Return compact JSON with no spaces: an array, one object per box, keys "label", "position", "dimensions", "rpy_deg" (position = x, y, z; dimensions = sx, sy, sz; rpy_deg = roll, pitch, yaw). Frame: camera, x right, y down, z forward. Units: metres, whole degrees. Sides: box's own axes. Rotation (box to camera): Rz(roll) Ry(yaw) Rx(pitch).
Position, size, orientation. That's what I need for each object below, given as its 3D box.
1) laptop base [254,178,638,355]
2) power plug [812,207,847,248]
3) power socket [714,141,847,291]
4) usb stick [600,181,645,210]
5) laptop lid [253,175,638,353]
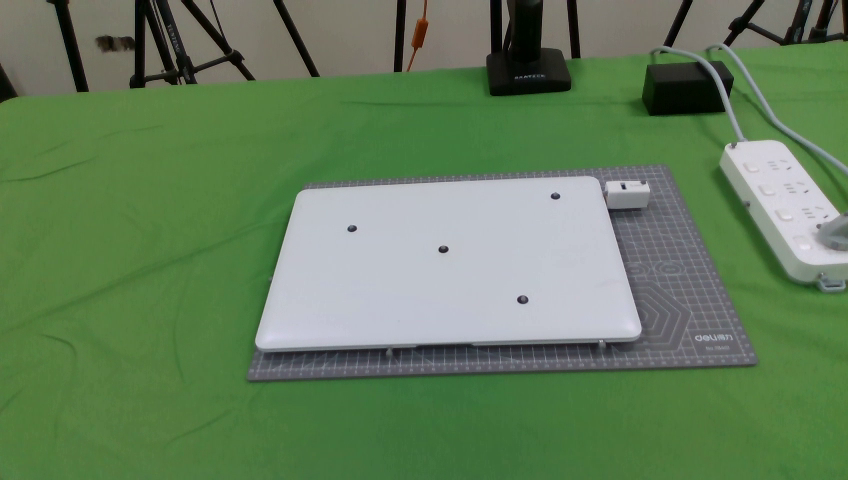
[{"label":"laptop base","position":[0.019,0.022,0.634],"dimensions":[0.354,0.023,0.233],"rpy_deg":[-3,45,4]},{"label":"power plug","position":[0.412,-0.005,0.578],"dimensions":[0.072,0.053,0.035],"rpy_deg":[6,43,9]},{"label":"power socket","position":[0.382,-0.038,0.648],"dimensions":[0.072,0.033,0.224],"rpy_deg":[-3,41,1]},{"label":"usb stick","position":[0.212,-0.049,0.673],"dimensions":[0.059,0.027,0.021],"rpy_deg":[-4,41,7]},{"label":"laptop lid","position":[0.018,0.014,0.624],"dimensions":[0.356,0.013,0.239],"rpy_deg":[-2,44,5]}]
